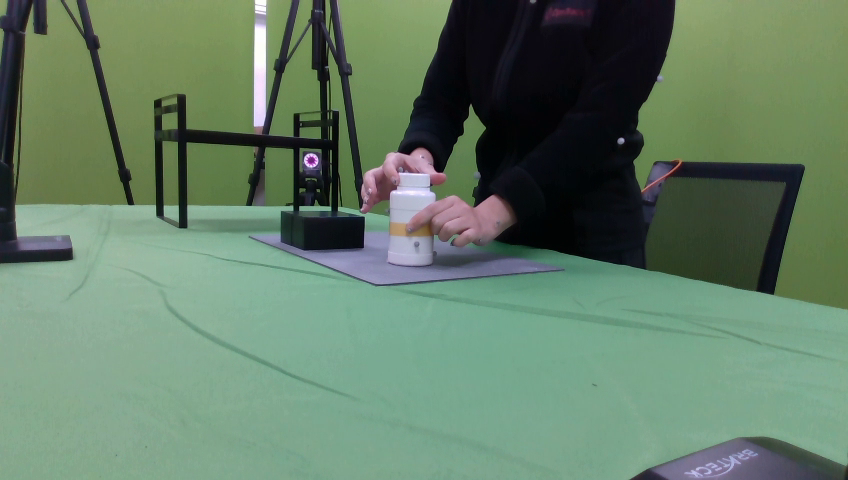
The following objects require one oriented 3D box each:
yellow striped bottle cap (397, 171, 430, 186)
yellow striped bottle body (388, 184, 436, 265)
[{"bbox_3d":[-0.014,-0.082,0.804,0.044,0.018,0.044,0,9,0],"label":"yellow striped bottle cap"},{"bbox_3d":[-0.016,-0.030,0.811,0.063,0.120,0.063,2,7,0],"label":"yellow striped bottle body"}]
